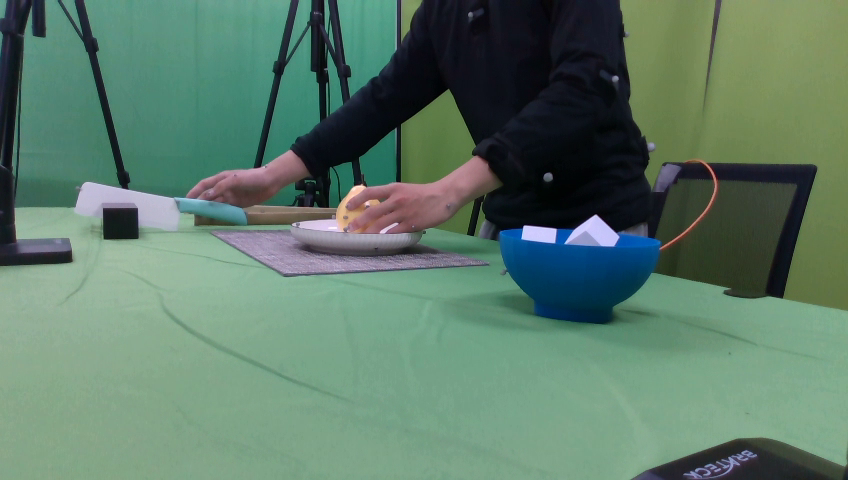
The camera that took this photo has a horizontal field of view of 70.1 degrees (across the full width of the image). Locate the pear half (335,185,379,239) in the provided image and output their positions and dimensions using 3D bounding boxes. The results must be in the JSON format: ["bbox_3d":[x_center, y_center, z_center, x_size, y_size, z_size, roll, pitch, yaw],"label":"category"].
[{"bbox_3d":[-0.111,-0.046,0.974,0.071,0.088,0.031,-3,12,-25],"label":"pear half"}]

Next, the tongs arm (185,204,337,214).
[{"bbox_3d":[-0.337,-0.065,1.376,0.387,0.026,0.050,0,9,-25],"label":"tongs arm"}]

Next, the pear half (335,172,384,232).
[{"bbox_3d":[-0.097,-0.050,0.940,0.077,0.110,0.055,-4,11,-25],"label":"pear half"}]

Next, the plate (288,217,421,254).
[{"bbox_3d":[-0.109,-0.007,0.956,0.208,0.039,0.207,2,7,0],"label":"plate"}]

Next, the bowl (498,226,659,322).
[{"bbox_3d":[0.145,0.032,0.584,0.151,0.077,0.151,2,7,0],"label":"bowl"}]

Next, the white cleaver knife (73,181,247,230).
[{"bbox_3d":[-0.464,-0.052,1.090,0.288,0.066,0.021,9,7,-29],"label":"white cleaver knife"}]

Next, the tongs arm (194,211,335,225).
[{"bbox_3d":[-0.299,-0.050,1.308,0.390,0.028,0.028,-3,7,-37],"label":"tongs arm"}]
